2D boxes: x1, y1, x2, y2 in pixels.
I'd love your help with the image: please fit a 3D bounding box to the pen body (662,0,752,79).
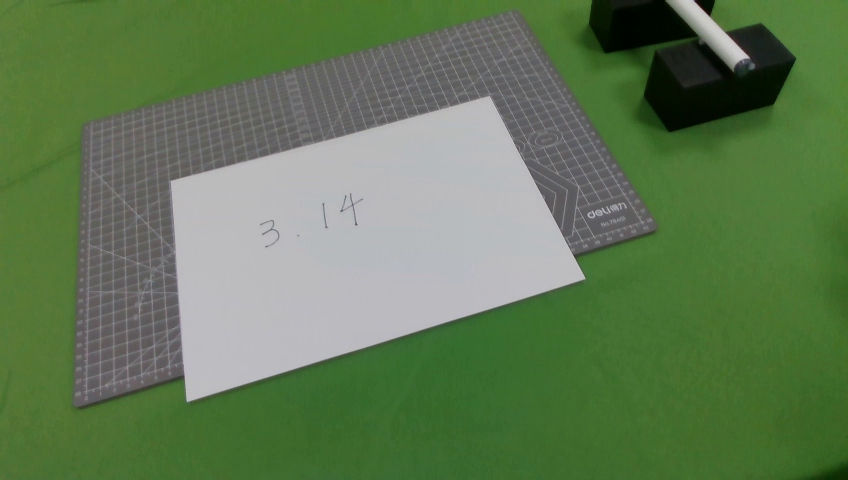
[{"bbox_3d":[0.233,-0.187,0.520,0.017,0.017,0.142,-17,56,-6],"label":"pen body"}]
